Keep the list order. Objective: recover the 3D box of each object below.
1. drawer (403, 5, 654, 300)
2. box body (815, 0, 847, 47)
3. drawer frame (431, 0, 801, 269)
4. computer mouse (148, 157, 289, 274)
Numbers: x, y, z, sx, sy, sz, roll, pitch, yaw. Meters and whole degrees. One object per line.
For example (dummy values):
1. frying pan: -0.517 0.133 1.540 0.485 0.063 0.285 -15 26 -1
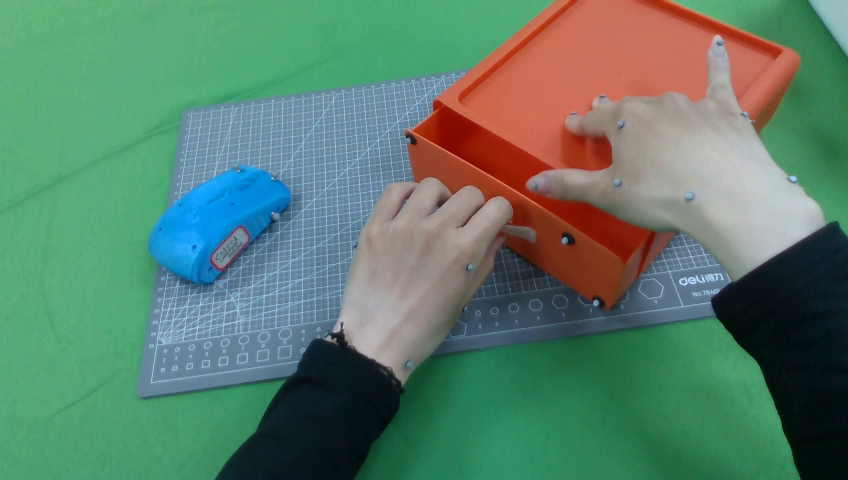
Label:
1. drawer: 0.125 -0.087 0.485 0.193 0.074 0.211 35 66 26
2. box body: 0.502 -0.192 0.467 0.254 0.162 0.360 -7 56 1
3. drawer frame: 0.149 -0.112 0.496 0.200 0.083 0.213 36 66 25
4. computer mouse: -0.169 -0.027 0.500 0.062 0.041 0.117 28 60 24
